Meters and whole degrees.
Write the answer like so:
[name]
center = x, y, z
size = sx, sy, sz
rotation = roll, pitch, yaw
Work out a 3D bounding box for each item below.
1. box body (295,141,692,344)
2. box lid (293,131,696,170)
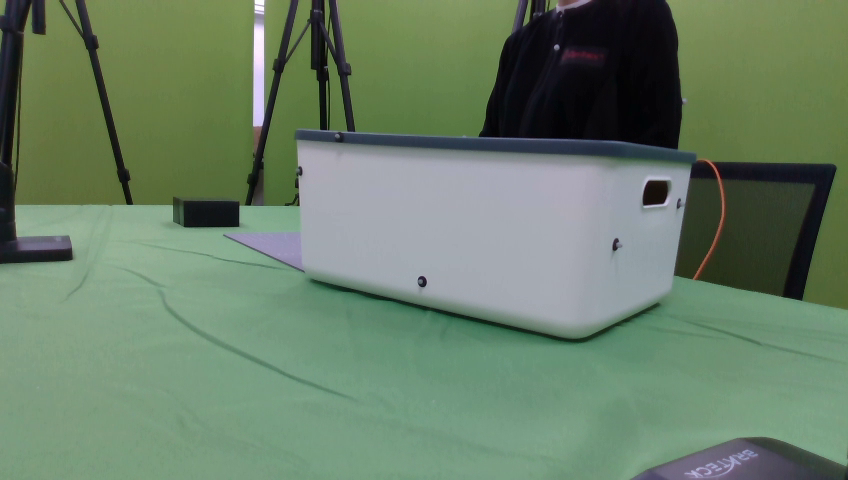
[box body]
center = 0.065, -0.020, 0.653
size = 0.362, 0.160, 0.255
rotation = 9, 9, 37
[box lid]
center = 0.069, -0.094, 0.645
size = 0.369, 0.015, 0.265
rotation = 9, 9, 37
